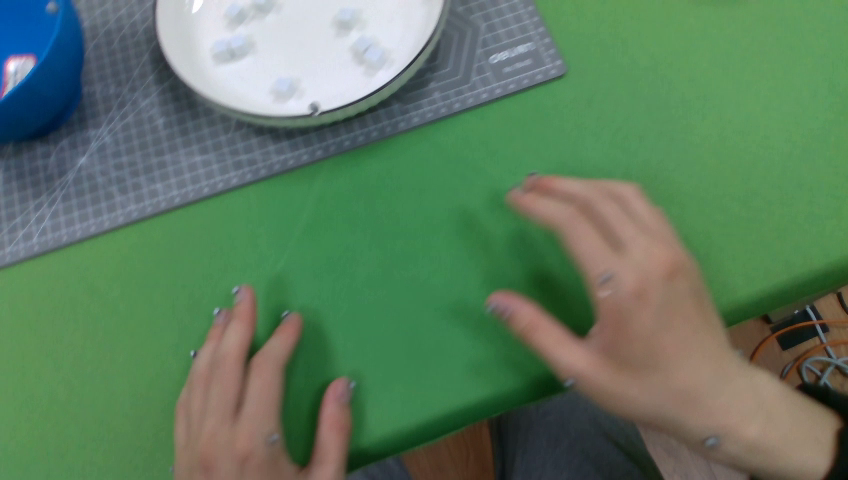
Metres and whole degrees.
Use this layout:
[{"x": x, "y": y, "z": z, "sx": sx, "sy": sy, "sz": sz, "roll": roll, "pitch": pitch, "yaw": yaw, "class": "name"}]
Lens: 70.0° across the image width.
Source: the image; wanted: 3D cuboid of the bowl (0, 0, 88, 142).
[{"x": -0.291, "y": -0.121, "z": 0.413, "sx": 0.151, "sy": 0.077, "sz": 0.150, "roll": -2, "pitch": 71, "yaw": 5, "class": "bowl"}]

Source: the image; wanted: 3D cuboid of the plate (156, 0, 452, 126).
[{"x": -0.082, "y": -0.169, "z": 0.430, "sx": 0.209, "sy": 0.038, "sz": 0.207, "roll": -1, "pitch": 71, "yaw": 4, "class": "plate"}]
